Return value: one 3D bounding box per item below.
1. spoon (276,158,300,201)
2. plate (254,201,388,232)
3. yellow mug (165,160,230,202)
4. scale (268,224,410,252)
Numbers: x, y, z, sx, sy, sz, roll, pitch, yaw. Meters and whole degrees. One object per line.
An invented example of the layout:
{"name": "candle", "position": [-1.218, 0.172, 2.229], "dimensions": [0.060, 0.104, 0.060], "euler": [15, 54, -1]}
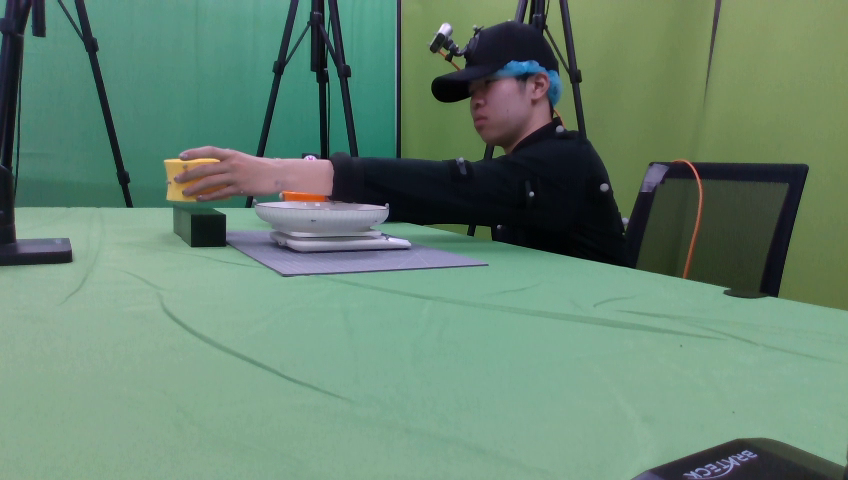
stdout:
{"name": "spoon", "position": [-0.274, -0.103, 1.259], "dimensions": [0.042, 0.193, 0.021], "euler": [-5, -33, -34]}
{"name": "plate", "position": [-0.161, -0.038, 0.961], "dimensions": [0.209, 0.038, 0.209], "euler": [2, 6, 0]}
{"name": "yellow mug", "position": [-0.383, -0.104, 1.035], "dimensions": [0.100, 0.064, 0.130], "euler": [0, 10, -9]}
{"name": "scale", "position": [-0.137, -0.006, 0.980], "dimensions": [0.202, 0.031, 0.148], "euler": [-1, 9, -30]}
